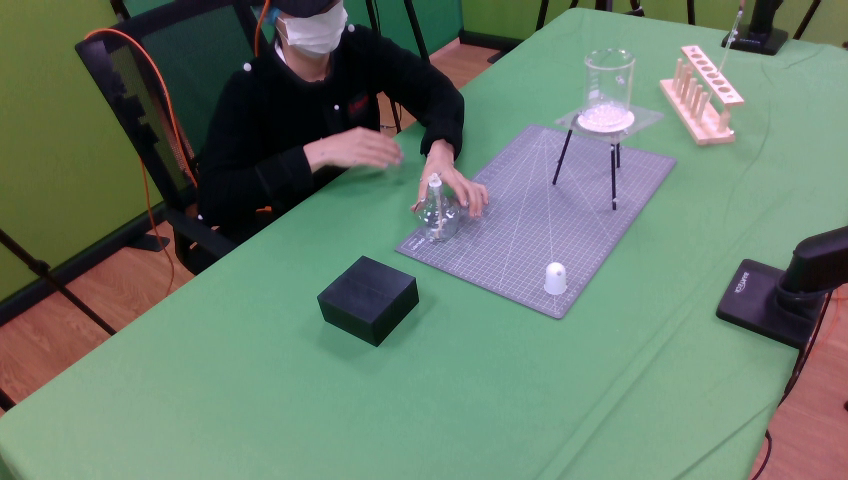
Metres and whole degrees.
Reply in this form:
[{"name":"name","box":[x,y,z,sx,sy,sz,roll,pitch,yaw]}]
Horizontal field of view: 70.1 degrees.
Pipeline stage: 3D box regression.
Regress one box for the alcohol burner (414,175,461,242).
[{"name":"alcohol burner","box":[0.020,-0.055,0.963,0.078,0.119,0.077,-3,41,4]}]

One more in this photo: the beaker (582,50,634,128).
[{"name":"beaker","box":[0.285,-0.234,0.939,0.084,0.101,0.073,-29,43,-23]}]

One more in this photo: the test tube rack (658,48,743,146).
[{"name":"test tube rack","box":[0.532,-0.284,1.180,0.067,0.085,0.241,-5,40,4]}]

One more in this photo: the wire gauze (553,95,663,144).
[{"name":"wire gauze","box":[0.293,-0.191,0.964,0.125,0.011,0.120,-29,45,-29]}]

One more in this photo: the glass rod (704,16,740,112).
[{"name":"glass rod","box":[0.549,-0.319,1.117,0.008,0.200,0.008,-2,47,3]}]

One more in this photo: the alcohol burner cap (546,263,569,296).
[{"name":"alcohol burner cap","box":[0.191,0.053,0.862,0.034,0.048,0.033,-5,40,4]}]

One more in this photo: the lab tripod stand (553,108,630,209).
[{"name":"lab tripod stand","box":[0.292,-0.144,1.010,0.148,0.132,0.147,-5,38,4]}]
